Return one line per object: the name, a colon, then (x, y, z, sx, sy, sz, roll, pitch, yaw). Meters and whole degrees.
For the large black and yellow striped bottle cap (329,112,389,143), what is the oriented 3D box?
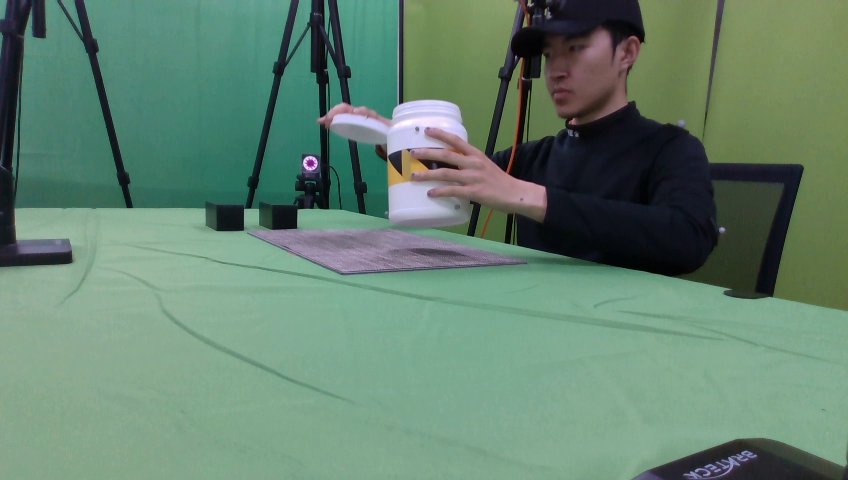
large black and yellow striped bottle cap: (-0.118, -0.208, 1.125, 0.115, 0.019, 0.115, 10, -7, 2)

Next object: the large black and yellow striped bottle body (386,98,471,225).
large black and yellow striped bottle body: (0.006, -0.120, 0.961, 0.131, 0.183, 0.131, -2, -5, 0)
